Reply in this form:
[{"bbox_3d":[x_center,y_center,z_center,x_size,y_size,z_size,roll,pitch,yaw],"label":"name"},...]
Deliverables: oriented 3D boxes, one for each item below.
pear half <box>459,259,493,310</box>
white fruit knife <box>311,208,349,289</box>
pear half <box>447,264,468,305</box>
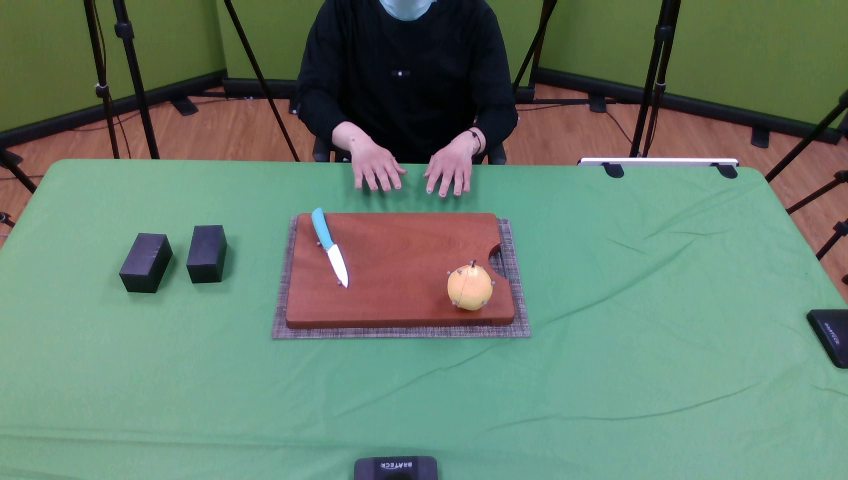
[{"bbox_3d":[0.092,0.072,1.031,0.056,0.110,0.076,7,50,3],"label":"pear half"},{"bbox_3d":[-0.176,0.013,1.133,0.027,0.016,0.206,-24,52,-7],"label":"white fruit knife"},{"bbox_3d":[0.056,0.073,1.041,0.031,0.088,0.070,7,53,2],"label":"pear half"}]
